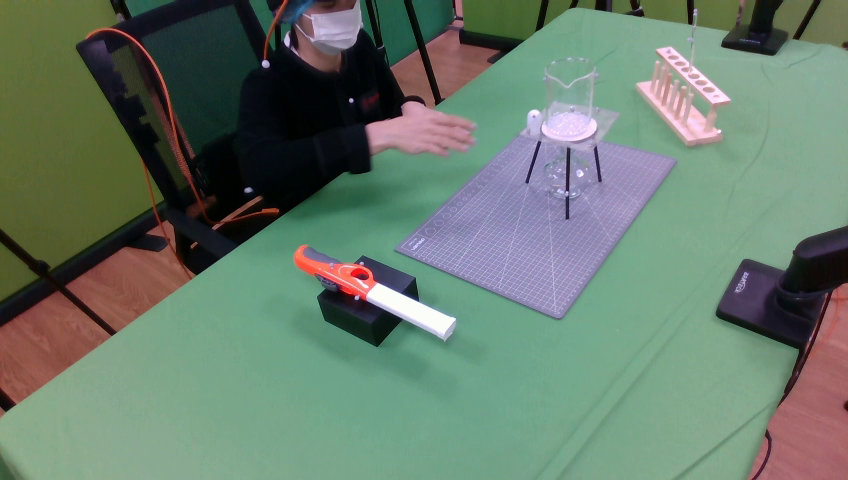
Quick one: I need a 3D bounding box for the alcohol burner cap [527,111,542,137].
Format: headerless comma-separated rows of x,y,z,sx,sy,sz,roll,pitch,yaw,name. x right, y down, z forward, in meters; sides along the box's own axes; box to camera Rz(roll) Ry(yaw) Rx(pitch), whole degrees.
0.221,-0.233,1.200,0.034,0.048,0.033,-6,41,6,alcohol burner cap

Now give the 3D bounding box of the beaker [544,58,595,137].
0.221,-0.214,0.927,0.074,0.101,0.084,3,41,16,beaker

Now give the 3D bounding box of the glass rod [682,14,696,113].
0.495,-0.326,1.132,0.008,0.201,0.008,-8,42,8,glass rod

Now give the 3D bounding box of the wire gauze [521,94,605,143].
0.219,-0.190,0.949,0.121,0.011,0.125,7,46,14,wire gauze

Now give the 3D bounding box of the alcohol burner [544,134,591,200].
0.241,-0.127,1.014,0.078,0.119,0.077,-5,42,5,alcohol burner

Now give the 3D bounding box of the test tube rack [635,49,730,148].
0.497,-0.283,1.184,0.067,0.085,0.240,-10,40,-2,test tube rack

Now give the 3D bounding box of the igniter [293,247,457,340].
-0.077,0.068,0.830,0.274,0.025,0.057,22,48,27,igniter

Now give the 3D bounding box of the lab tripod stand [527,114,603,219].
0.234,-0.129,1.002,0.148,0.132,0.147,-6,40,6,lab tripod stand
